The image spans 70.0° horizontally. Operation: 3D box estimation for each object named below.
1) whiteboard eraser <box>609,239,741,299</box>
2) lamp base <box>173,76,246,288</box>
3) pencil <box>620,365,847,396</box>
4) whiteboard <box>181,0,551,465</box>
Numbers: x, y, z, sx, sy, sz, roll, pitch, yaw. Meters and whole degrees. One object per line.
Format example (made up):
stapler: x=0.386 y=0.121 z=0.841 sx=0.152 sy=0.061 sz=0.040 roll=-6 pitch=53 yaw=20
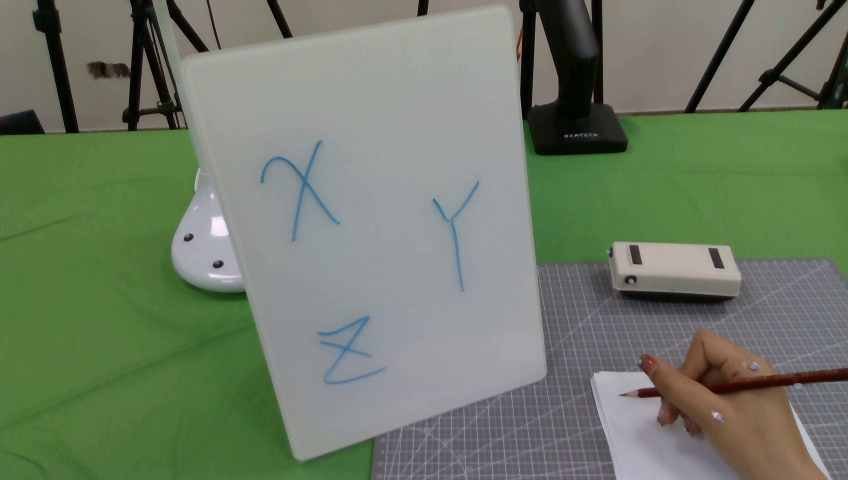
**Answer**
whiteboard eraser: x=0.239 y=0.028 z=0.583 sx=0.112 sy=0.042 sz=0.055 roll=3 pitch=41 yaw=7
lamp base: x=-0.204 y=-0.069 z=0.623 sx=0.177 sy=0.182 sz=0.160 roll=27 pitch=48 yaw=35
pencil: x=0.214 y=0.095 z=0.406 sx=0.193 sy=0.012 sz=0.012 roll=-23 pitch=18 yaw=47
whiteboard: x=-0.037 y=-0.015 z=0.495 sx=0.217 sy=0.307 sz=0.142 roll=-15 pitch=22 yaw=-12
